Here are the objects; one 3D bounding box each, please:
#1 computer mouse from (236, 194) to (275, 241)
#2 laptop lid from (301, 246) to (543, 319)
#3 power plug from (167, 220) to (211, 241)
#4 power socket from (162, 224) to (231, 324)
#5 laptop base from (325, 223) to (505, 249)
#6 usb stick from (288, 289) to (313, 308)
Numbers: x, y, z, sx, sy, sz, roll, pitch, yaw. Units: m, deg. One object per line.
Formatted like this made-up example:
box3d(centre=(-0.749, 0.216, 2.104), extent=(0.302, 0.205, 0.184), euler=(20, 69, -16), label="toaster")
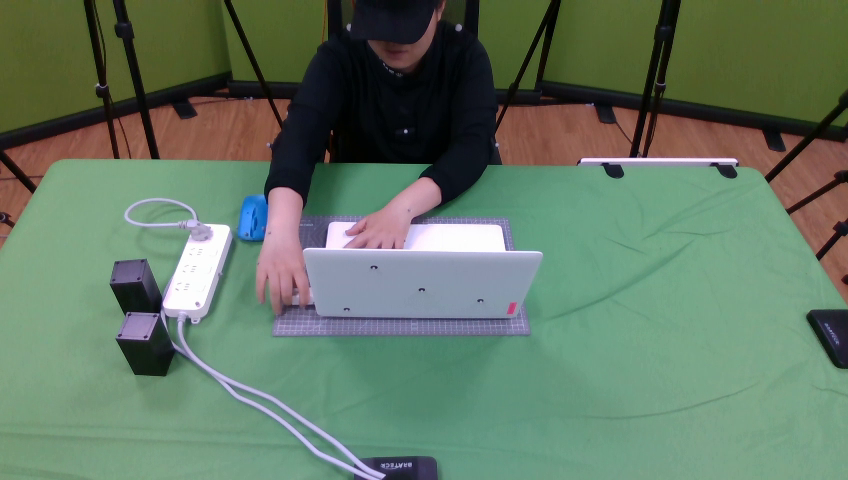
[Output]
box3d(centre=(-0.334, -0.048, 1.206), extent=(0.063, 0.041, 0.116), euler=(2, 51, -4), label="computer mouse")
box3d(centre=(-0.006, 0.075, 0.963), extent=(0.357, 0.243, 0.013), euler=(2, 58, -4), label="laptop lid")
box3d(centre=(-0.438, -0.016, 1.143), extent=(0.072, 0.053, 0.035), euler=(10, 43, 7), label="power plug")
box3d(centre=(-0.412, 0.052, 1.106), extent=(0.072, 0.033, 0.225), euler=(4, 46, -2), label="power socket")
box3d(centre=(-0.015, 0.054, 1.146), extent=(0.354, 0.023, 0.234), euler=(1, 42, -3), label="laptop base")
box3d(centre=(-0.208, 0.103, 1.069), extent=(0.059, 0.027, 0.021), euler=(-3, 43, -8), label="usb stick")
